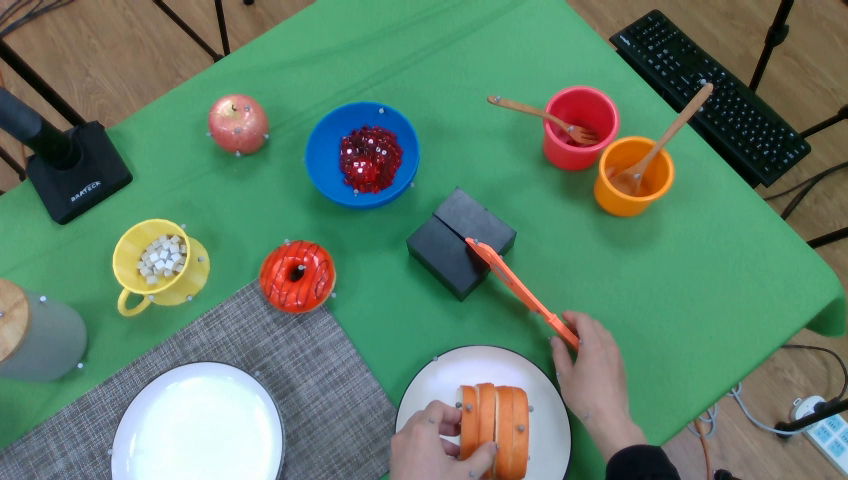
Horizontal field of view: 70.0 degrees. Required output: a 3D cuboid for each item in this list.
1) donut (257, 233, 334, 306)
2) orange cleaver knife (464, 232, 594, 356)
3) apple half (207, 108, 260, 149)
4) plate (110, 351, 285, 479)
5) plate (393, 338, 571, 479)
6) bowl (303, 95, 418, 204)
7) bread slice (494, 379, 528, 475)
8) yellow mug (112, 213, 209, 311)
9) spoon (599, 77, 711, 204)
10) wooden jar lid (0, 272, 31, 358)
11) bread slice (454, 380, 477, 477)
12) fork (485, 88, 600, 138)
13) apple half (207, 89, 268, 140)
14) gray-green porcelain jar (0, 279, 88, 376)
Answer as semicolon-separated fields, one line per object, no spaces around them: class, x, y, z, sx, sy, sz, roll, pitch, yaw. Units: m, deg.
donut;-0.166;0.039;0.785;0.099;0.048;0.098;0;72;2
orange cleaver knife;0.128;0.065;0.747;0.212;0.077;0.012;45;81;-9
apple half;-0.266;-0.144;0.836;0.081;0.082;0.032;19;69;9
plate;-0.267;0.240;0.728;0.207;0.039;0.206;-1;72;2
plate;0.067;0.222;0.722;0.209;0.038;0.208;-1;72;3
bowl;-0.080;-0.109;0.816;0.151;0.077;0.150;-1;73;2
bread slice;0.095;0.207;0.669;0.019;0.132;0.104;4;73;0
yellow mug;-0.350;0.035;0.788;0.099;0.064;0.130;29;76;11
spoon;0.291;-0.122;0.766;0.041;0.194;0.022;46;34;16
wooden jar lid;-0.491;0.089;0.679;0.108;0.021;0.107;-1;71;4
bread slice;0.044;0.205;0.673;0.018;0.135;0.106;2;68;1
fork;0.158;-0.164;0.786;0.209;0.018;0.028;11;65;-38
apple half;-0.253;-0.179;0.849;0.080;0.075;0.053;18;68;12
gray-green porcelain jar;-0.488;0.109;0.738;0.106;0.127;0.105;-1;71;3
